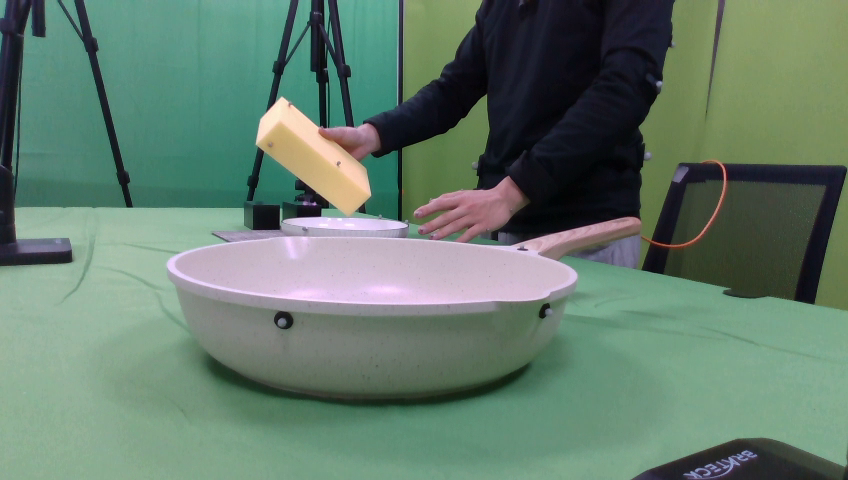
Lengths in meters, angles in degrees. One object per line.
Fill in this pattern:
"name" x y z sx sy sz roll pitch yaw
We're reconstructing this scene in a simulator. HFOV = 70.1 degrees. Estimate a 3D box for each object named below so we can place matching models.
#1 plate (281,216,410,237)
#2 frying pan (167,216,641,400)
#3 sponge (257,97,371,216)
"plate" -0.126 -0.012 0.986 0.208 0.039 0.207 2 7 0
"frying pan" 0.046 0.024 0.519 0.490 0.102 0.305 -14 16 -37
"sponge" -0.192 -0.147 1.073 0.208 0.061 0.118 39 17 -30
